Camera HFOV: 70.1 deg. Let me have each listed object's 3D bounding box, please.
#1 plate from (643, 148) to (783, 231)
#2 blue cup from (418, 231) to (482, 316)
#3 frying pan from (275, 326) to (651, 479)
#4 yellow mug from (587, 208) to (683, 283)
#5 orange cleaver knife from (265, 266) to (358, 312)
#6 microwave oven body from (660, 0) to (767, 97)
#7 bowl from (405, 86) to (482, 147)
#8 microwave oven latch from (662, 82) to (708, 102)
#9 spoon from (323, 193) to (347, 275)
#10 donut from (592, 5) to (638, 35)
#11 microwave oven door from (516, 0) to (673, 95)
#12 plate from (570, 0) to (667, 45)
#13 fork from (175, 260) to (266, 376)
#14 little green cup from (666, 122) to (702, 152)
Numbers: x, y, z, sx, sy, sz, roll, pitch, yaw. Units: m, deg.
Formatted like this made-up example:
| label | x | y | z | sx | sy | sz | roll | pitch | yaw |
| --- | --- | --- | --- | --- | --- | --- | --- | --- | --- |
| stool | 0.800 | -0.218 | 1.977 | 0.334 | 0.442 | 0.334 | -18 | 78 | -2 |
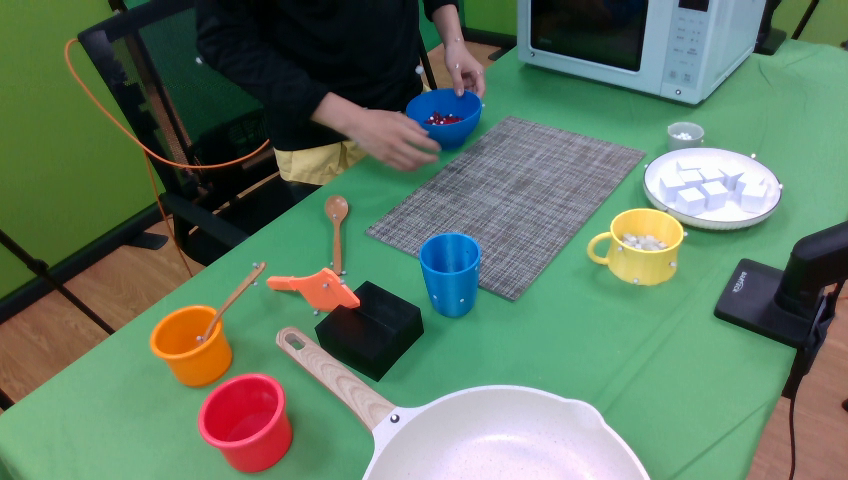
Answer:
| label | x | y | z | sx | sy | sz | roll | pitch | yaw |
| --- | --- | --- | --- | --- | --- | --- | --- | --- | --- |
| plate | 0.464 | -0.080 | 0.986 | 0.207 | 0.039 | 0.206 | -4 | 40 | 4 |
| blue cup | 0.040 | 0.053 | 0.843 | 0.092 | 0.100 | 0.092 | -4 | 43 | 4 |
| frying pan | 0.004 | 0.229 | 0.641 | 0.484 | 0.103 | 0.308 | 34 | 54 | 28 |
| yellow mug | 0.305 | 0.009 | 0.884 | 0.131 | 0.064 | 0.099 | -4 | 41 | 5 |
| orange cleaver knife | -0.164 | 0.073 | 0.864 | 0.210 | 0.077 | 0.012 | -6 | 31 | 50 |
| microwave oven body | 0.473 | -0.516 | 1.313 | 0.438 | 0.261 | 0.327 | 26 | 51 | 34 |
| bowl | 0.041 | -0.236 | 1.197 | 0.151 | 0.077 | 0.150 | -4 | 40 | 4 |
| microwave oven latch | 0.517 | -0.298 | 1.202 | 0.078 | 0.029 | 0.030 | 28 | 52 | 35 |
| spoon | -0.148 | -0.014 | 1.008 | 0.042 | 0.022 | 0.192 | 0 | 40 | -8 |
| donut | 0.427 | -0.492 | 1.350 | 0.099 | 0.048 | 0.098 | -8 | 39 | 7 |
| microwave oven door | 0.344 | -0.458 | 1.256 | 0.353 | 0.245 | 0.039 | 26 | 51 | 33 |
| plate | 0.436 | -0.491 | 1.368 | 0.209 | 0.038 | 0.208 | -6 | 40 | 5 |
| fork | -0.268 | 0.103 | 0.792 | 0.207 | 0.019 | 0.028 | -51 | 41 | 16 |
| little green cup | 0.471 | -0.184 | 1.102 | 0.061 | 0.039 | 0.061 | -5 | 41 | 5 |
